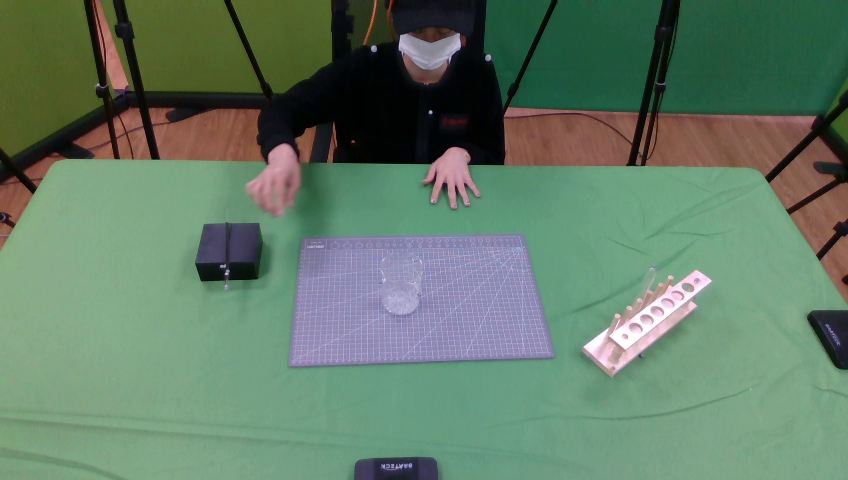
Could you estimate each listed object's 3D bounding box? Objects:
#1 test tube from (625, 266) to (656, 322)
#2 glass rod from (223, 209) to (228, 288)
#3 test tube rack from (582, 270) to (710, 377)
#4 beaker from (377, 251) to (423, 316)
[{"bbox_3d":[0.366,0.096,1.027,0.017,0.151,0.017,1,47,0],"label":"test tube"},{"bbox_3d":[-0.361,0.011,1.098,0.008,0.008,0.198,-8,47,-12],"label":"glass rod"},{"bbox_3d":[0.389,0.132,1.057,0.242,0.085,0.066,-28,54,-28],"label":"test tube rack"},{"bbox_3d":[-0.040,0.081,1.060,0.074,0.101,0.083,-32,57,-30],"label":"beaker"}]
